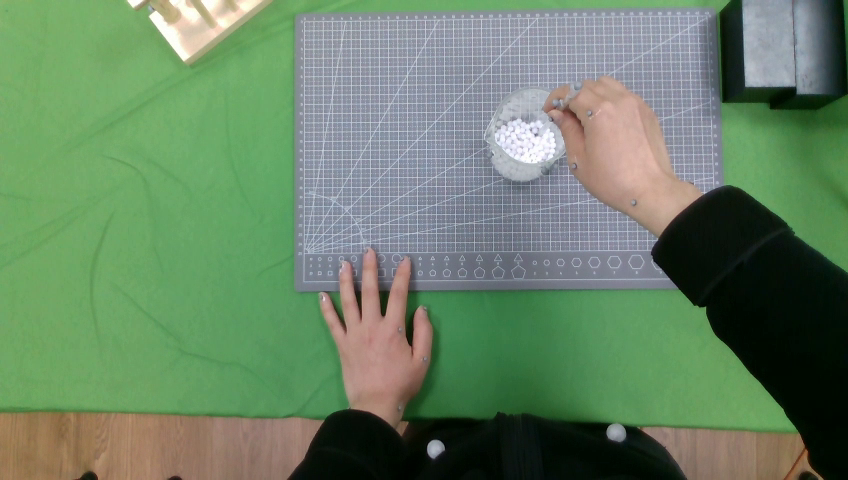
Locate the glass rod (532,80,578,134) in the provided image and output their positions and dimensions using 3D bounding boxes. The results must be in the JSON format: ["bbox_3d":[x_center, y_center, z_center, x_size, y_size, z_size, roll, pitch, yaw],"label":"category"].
[{"bbox_3d":[0.113,-0.114,0.538,0.008,0.199,0.008,0,90,2],"label":"glass rod"}]

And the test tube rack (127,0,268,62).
[{"bbox_3d":[-0.183,-0.295,0.618,0.242,0.085,0.066,-38,86,-2],"label":"test tube rack"}]

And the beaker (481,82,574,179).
[{"bbox_3d":[0.095,-0.101,0.592,0.084,0.100,0.074,-12,85,1],"label":"beaker"}]
